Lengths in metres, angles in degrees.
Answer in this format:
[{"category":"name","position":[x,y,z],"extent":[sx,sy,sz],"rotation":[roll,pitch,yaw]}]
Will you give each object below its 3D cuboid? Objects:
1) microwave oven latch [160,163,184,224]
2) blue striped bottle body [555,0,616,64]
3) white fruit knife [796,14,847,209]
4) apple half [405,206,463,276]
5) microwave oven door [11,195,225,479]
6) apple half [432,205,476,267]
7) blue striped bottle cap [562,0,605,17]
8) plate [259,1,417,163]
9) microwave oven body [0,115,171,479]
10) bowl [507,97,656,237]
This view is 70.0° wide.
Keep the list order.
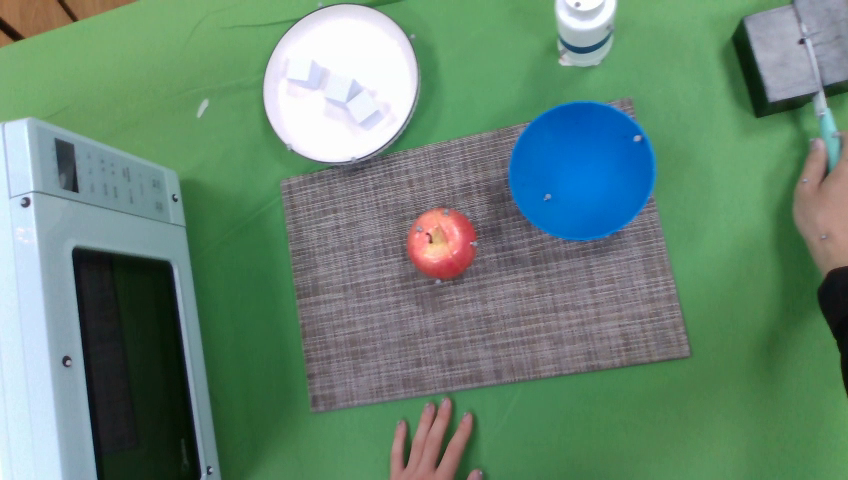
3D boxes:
[{"category":"microwave oven latch","position":[-0.338,-0.058,0.791],"extent":[0.030,0.029,0.079],"rotation":[-13,82,11]},{"category":"blue striped bottle body","position":[0.176,-0.247,0.668],"extent":[0.063,0.121,0.063],"rotation":[-1,83,13]},{"category":"white fruit knife","position":[0.414,-0.132,0.628],"extent":[0.016,0.027,0.207],"rotation":[-15,91,7]},{"category":"apple half","position":[0.008,0.008,0.701],"extent":[0.053,0.075,0.080],"rotation":[-27,82,12]},{"category":"microwave oven door","position":[-0.321,0.142,0.662],"extent":[0.039,0.245,0.354],"rotation":[-14,81,12]},{"category":"apple half","position":[0.042,-0.009,0.694],"extent":[0.033,0.081,0.081],"rotation":[-27,78,12]},{"category":"blue striped bottle cap","position":[0.164,-0.253,0.618],"extent":[0.044,0.021,0.044],"rotation":[-1,83,11]},{"category":"plate","position":[-0.107,-0.197,0.772],"extent":[0.207,0.039,0.207],"rotation":[-1,84,13]},{"category":"microwave oven body","position":[-0.467,0.135,0.701],"extent":[0.325,0.261,0.440],"rotation":[-13,82,11]},{"category":"bowl","position":[0.171,-0.073,0.669],"extent":[0.151,0.077,0.151],"rotation":[-1,84,13]}]
